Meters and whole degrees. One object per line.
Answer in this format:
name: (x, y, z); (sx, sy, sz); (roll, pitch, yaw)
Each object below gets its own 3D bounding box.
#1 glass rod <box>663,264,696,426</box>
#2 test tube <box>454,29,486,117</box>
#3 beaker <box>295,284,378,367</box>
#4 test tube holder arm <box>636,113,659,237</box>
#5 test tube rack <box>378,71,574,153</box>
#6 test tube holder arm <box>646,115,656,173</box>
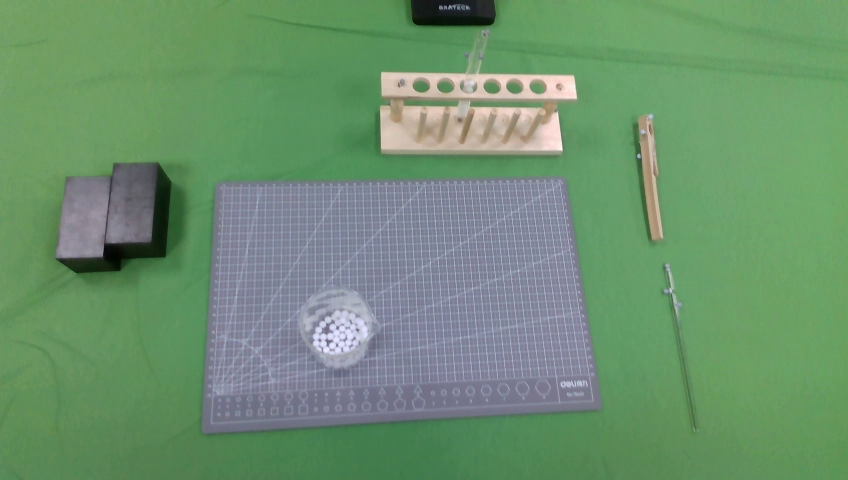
glass rod: (0.312, 0.124, 0.742); (0.008, 0.008, 0.198); (0, 70, -6)
test tube: (0.054, -0.198, 0.738); (0.017, 0.151, 0.017); (3, 66, -6)
beaker: (-0.092, 0.097, 0.659); (0.084, 0.101, 0.073); (7, 70, -3)
test tube holder arm: (0.298, -0.089, 0.809); (0.013, 0.015, 0.177); (15, 67, -31)
test tube rack: (0.064, -0.162, 0.779); (0.243, 0.085, 0.066); (-1, 70, -6)
test tube holder arm: (0.305, -0.130, 0.827); (0.010, 0.015, 0.087); (15, 66, -31)
